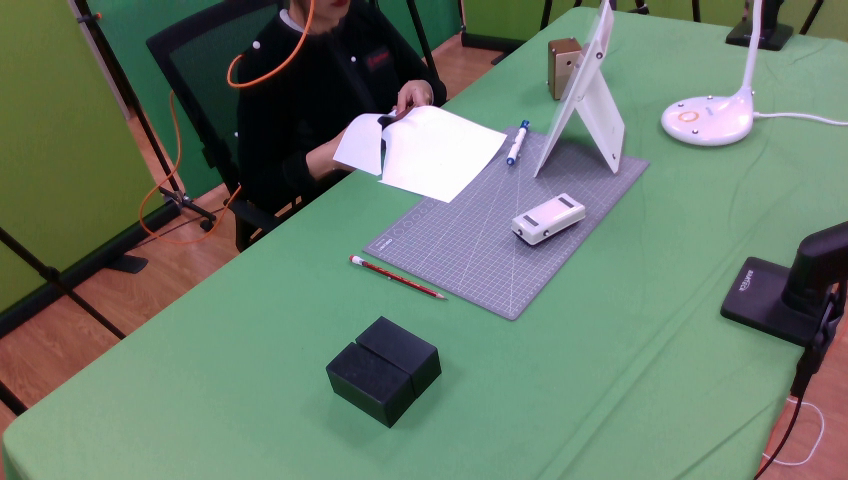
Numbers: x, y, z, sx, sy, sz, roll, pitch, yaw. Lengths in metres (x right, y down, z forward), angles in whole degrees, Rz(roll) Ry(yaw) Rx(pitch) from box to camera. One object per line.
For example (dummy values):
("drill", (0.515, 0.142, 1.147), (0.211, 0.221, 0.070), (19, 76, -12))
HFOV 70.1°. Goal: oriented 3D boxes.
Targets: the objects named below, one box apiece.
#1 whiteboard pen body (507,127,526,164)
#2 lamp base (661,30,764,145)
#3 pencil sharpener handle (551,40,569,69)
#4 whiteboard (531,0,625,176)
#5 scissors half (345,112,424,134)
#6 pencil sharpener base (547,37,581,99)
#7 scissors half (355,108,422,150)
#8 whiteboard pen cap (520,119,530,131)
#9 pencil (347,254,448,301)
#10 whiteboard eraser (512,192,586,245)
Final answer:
("whiteboard pen body", (0.181, -0.189, 1.162), (0.017, 0.017, 0.140), (7, 42, 19))
("lamp base", (0.535, -0.287, 1.096), (0.179, 0.181, 0.159), (-10, 40, -4))
("pencil sharpener handle", (0.291, -0.409, 1.320), (0.036, 0.068, 0.030), (2, 40, -6))
("whiteboard", (0.320, -0.258, 1.050), (0.144, 0.306, 0.217), (22, 45, 5))
("scissors half", (-0.084, -0.248, 1.248), (0.174, 0.040, 0.013), (-5, 40, 16))
("pencil sharpener base", (0.299, -0.368, 1.290), (0.061, 0.107, 0.076), (-8, 40, 2))
("scissors half", (-0.074, -0.231, 1.258), (0.174, 0.040, 0.013), (-27, 26, 30))
("whiteboard pen cap", (0.199, -0.226, 1.204), (0.018, 0.018, 0.033), (7, 41, 18))
("pencil", (-0.044, 0.058, 0.933), (0.192, 0.012, 0.012), (22, 49, 28))
("whiteboard eraser", (0.199, -0.032, 0.962), (0.113, 0.042, 0.055), (-27, 43, -20))
